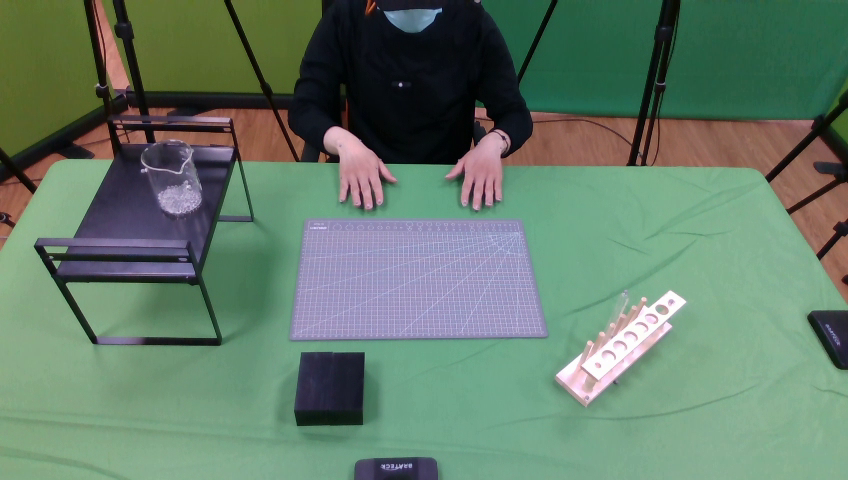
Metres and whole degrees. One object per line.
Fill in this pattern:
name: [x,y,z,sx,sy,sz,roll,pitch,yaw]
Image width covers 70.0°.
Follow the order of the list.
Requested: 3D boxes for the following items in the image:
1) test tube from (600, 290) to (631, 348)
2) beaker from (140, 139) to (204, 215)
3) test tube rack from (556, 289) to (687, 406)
test tube: [0.309,0.131,0.982,0.017,0.151,0.017,1,48,-1]
beaker: [-0.391,-0.095,0.954,0.074,0.101,0.083,-30,56,-27]
test tube rack: [0.332,0.165,1.014,0.242,0.085,0.066,-31,55,-28]
